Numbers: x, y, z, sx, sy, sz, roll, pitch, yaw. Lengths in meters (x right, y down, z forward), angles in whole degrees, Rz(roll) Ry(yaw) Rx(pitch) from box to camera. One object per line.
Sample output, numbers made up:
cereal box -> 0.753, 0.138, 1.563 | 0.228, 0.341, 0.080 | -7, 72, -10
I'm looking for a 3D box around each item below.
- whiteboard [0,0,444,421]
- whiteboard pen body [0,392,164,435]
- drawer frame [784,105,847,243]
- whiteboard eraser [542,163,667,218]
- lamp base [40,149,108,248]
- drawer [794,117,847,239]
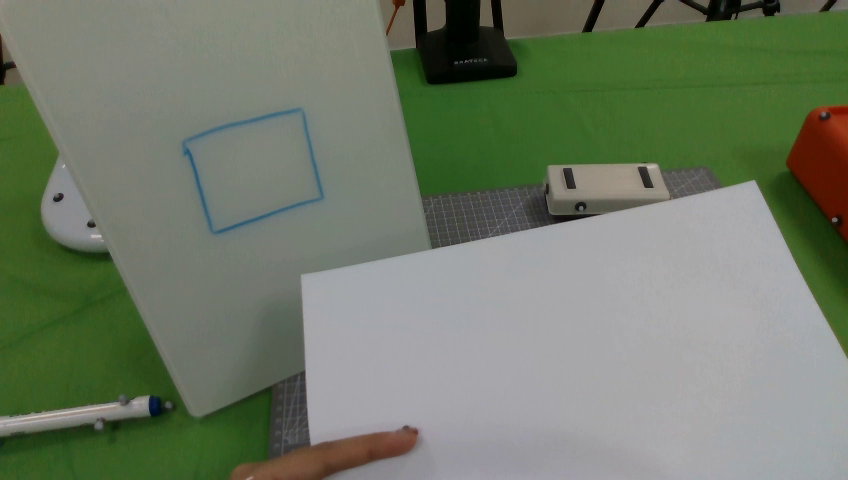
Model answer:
whiteboard -> -0.134, -0.058, 0.473 | 0.217, 0.308, 0.142 | -22, 29, -17
whiteboard pen body -> -0.268, 0.130, 0.449 | 0.141, 0.017, 0.017 | -6, 45, -9
drawer frame -> 0.484, -0.038, 0.550 | 0.202, 0.083, 0.211 | -6, 45, -2
whiteboard eraser -> 0.175, -0.048, 0.595 | 0.113, 0.042, 0.055 | -1, 44, 1
lamp base -> -0.321, -0.109, 0.576 | 0.178, 0.182, 0.160 | 24, 50, 26
drawer -> 0.485, -0.033, 0.546 | 0.194, 0.074, 0.209 | -5, 45, -1
